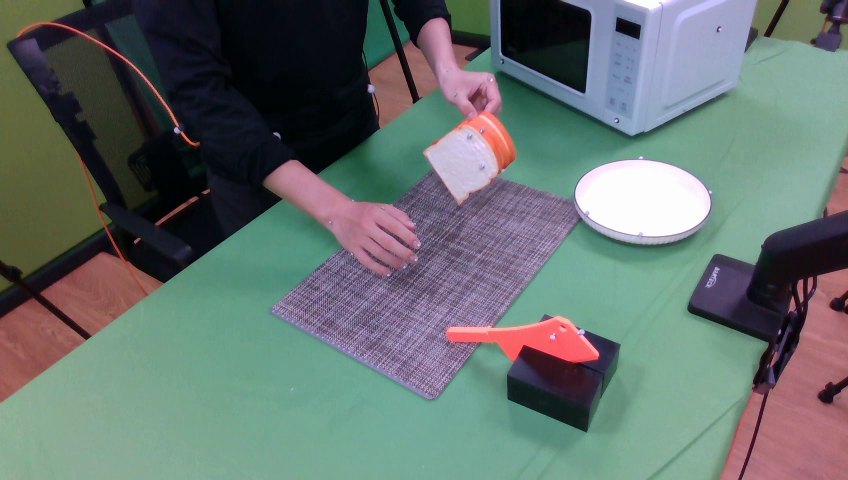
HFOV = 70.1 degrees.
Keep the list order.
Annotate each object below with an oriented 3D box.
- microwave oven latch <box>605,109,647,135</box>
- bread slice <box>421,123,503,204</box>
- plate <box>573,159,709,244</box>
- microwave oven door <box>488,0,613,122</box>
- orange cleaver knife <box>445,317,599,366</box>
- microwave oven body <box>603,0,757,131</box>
[{"bbox_3d":[0.378,-0.225,1.139,0.030,0.029,0.078,-26,43,-20],"label":"microwave oven latch"},{"bbox_3d":[0.063,-0.126,0.948,0.107,0.134,0.018,51,52,-4],"label":"bread slice"},{"bbox_3d":[0.347,-0.059,0.979,0.207,0.039,0.206,-4,41,4],"label":"plate"},{"bbox_3d":[0.250,-0.412,1.219,0.039,0.245,0.352,-27,44,-21],"label":"microwave oven door"},{"bbox_3d":[0.115,0.129,0.751,0.210,0.077,0.012,-11,31,44],"label":"orange cleaver knife"},{"bbox_3d":[0.396,-0.448,1.248,0.327,0.261,0.437,-27,44,-21],"label":"microwave oven body"}]
